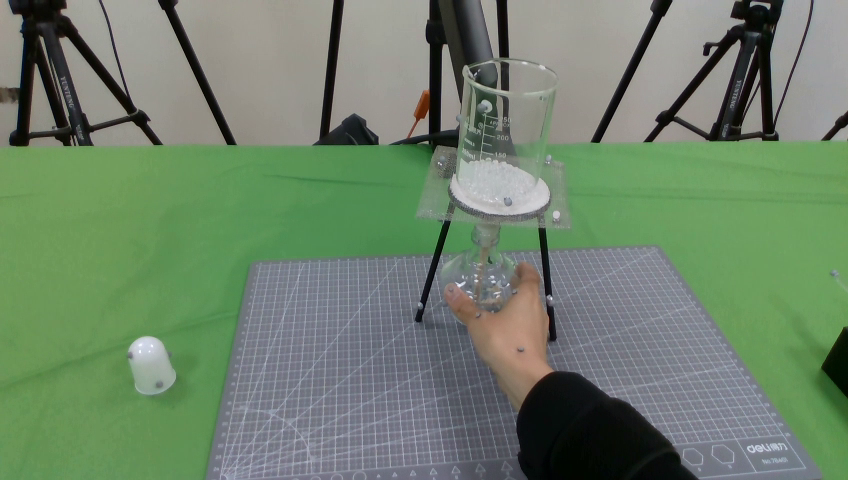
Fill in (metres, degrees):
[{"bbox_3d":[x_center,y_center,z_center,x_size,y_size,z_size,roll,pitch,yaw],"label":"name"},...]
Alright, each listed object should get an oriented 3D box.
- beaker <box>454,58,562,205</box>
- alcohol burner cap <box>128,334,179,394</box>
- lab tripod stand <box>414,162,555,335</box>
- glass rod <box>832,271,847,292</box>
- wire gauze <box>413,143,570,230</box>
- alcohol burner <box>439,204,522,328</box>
[{"bbox_3d":[0.061,-0.087,0.488,0.083,0.101,0.074,30,43,31],"label":"beaker"},{"bbox_3d":[-0.222,0.098,0.492,0.034,0.048,0.033,1,36,-1],"label":"alcohol burner cap"},{"bbox_3d":[0.065,0.008,0.553,0.148,0.132,0.147,3,35,-2],"label":"lab tripod stand"},{"bbox_3d":[0.392,0.089,0.491,0.008,0.008,0.197,0,36,-3],"label":"glass rod"},{"bbox_3d":[0.060,-0.046,0.515,0.121,0.011,0.124,6,38,6],"label":"wire gauze"},{"bbox_3d":[0.053,0.021,0.552,0.078,0.120,0.077,1,34,0],"label":"alcohol burner"}]
